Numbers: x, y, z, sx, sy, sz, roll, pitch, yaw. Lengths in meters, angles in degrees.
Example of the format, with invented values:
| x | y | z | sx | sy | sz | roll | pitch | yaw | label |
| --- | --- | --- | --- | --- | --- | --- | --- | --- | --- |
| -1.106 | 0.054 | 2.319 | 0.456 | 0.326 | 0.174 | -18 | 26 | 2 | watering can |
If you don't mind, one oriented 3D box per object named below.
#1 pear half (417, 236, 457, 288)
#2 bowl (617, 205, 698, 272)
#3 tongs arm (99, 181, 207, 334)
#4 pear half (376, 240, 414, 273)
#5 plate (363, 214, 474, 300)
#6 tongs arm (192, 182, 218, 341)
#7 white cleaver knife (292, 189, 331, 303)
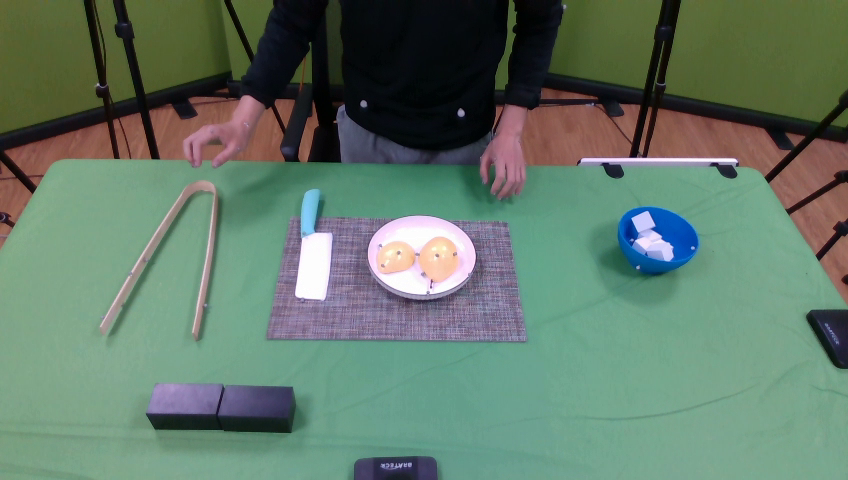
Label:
| x | y | z | sx | sy | sz | roll | pitch | yaw | label |
| --- | --- | --- | --- | --- | --- | --- | --- | --- | --- |
| 0.022 | 0.039 | 1.127 | 0.076 | 0.056 | 0.109 | 6 | 50 | 7 | pear half |
| 0.442 | 0.010 | 1.181 | 0.151 | 0.077 | 0.150 | 2 | 46 | -2 | bowl |
| -0.494 | 0.018 | 1.132 | 0.051 | 0.026 | 0.382 | 7 | 45 | 0 | tongs arm |
| -0.058 | 0.026 | 1.146 | 0.070 | 0.031 | 0.088 | 22 | 44 | 22 | pear half |
| -0.010 | 0.036 | 1.146 | 0.208 | 0.039 | 0.206 | 2 | 46 | -2 | plate |
| -0.413 | 0.025 | 1.140 | 0.028 | 0.028 | 0.385 | -5 | 47 | -7 | tongs arm |
| -0.215 | 0.006 | 1.178 | 0.066 | 0.021 | 0.284 | 5 | 49 | -12 | white cleaver knife |
